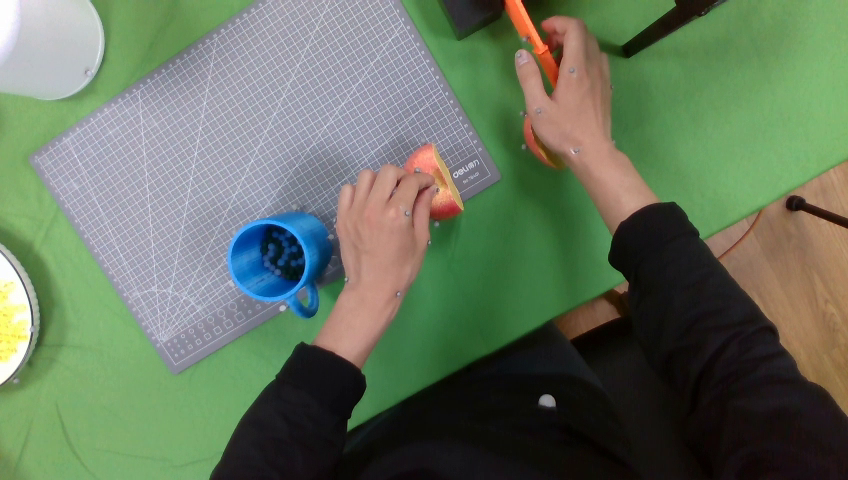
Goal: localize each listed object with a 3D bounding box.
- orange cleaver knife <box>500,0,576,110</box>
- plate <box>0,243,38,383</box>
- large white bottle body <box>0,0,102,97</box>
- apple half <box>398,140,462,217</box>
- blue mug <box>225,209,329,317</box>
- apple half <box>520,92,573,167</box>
[{"bbox_3d":[0.094,-0.222,0.603,0.012,0.076,0.213,-34,119,8],"label":"orange cleaver knife"},{"bbox_3d":[-0.547,0.077,0.703,0.209,0.038,0.209,0,99,3],"label":"plate"},{"bbox_3d":[-0.420,-0.212,0.581,0.130,0.184,0.131,0,97,3],"label":"large white bottle body"},{"bbox_3d":[0.001,-0.060,0.640,0.053,0.074,0.081,-25,101,10],"label":"apple half"},{"bbox_3d":[-0.145,0.026,0.643,0.082,0.105,0.117,-22,97,5],"label":"blue mug"},{"bbox_3d":[0.125,-0.113,0.642,0.032,0.081,0.081,-5,101,45],"label":"apple half"}]
